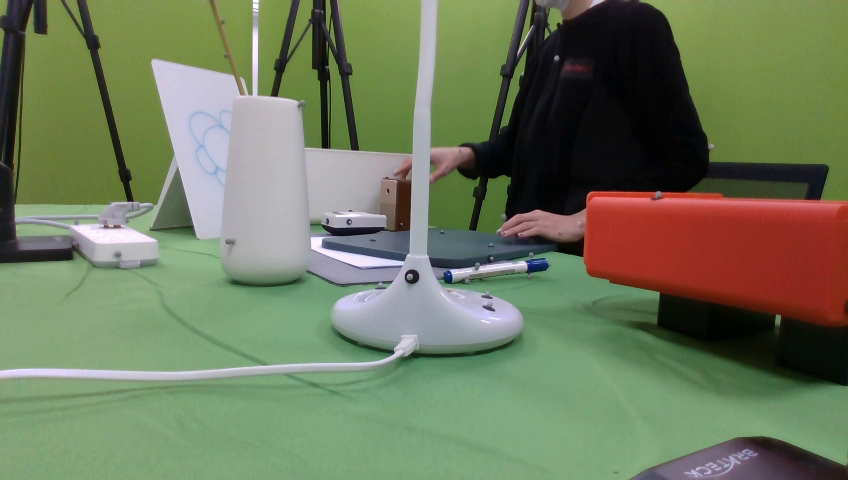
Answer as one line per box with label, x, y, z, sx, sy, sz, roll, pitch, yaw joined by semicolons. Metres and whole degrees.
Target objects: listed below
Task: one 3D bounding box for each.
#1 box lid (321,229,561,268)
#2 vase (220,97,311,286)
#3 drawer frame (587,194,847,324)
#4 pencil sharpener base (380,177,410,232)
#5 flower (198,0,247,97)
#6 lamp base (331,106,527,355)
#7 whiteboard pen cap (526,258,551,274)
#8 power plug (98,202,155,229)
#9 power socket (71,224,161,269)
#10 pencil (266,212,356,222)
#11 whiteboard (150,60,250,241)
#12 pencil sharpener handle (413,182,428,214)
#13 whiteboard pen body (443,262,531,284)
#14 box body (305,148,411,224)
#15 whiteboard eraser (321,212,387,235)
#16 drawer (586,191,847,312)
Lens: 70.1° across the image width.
box lid;0.040;0.008;0.996;0.262;0.015;0.373;7;8;34
vase;-0.172;-0.052;0.662;0.098;0.200;0.098;3;8;0
drawer frame;0.285;0.004;0.508;0.203;0.082;0.212;-1;6;-29
pencil sharpener base;-0.042;-0.071;1.222;0.077;0.107;0.061;-3;9;-37
flower;-0.187;-0.133;0.648;0.038;0.362;0.044;-1;22;43
lamp base;0.006;-0.012;0.478;0.161;0.180;0.179;2;10;2
whiteboard pen cap;0.141;0.033;0.759;0.033;0.018;0.018;-7;11;-26
power plug;-0.416;-0.027;0.848;0.073;0.052;0.035;0;8;-28
power socket;-0.408;0.004;0.793;0.072;0.032;0.225;-2;8;-38
pencil;-0.245;-0.049;1.319;0.195;0.012;0.012;3;7;-13
whiteboard;-0.408;-0.139;1.093;0.143;0.305;0.218;-15;-1;26
pencil sharpener handle;-0.003;-0.086;1.254;0.031;0.067;0.036;-3;20;-37
whiteboard pen body;0.087;0.038;0.734;0.141;0.017;0.017;-5;10;-27
box body;-0.230;-0.126;1.371;0.366;0.160;0.253;-2;8;-33
whiteboard eraser;-0.128;-0.031;1.108;0.113;0.042;0.055;-3;7;-38
drawer;0.281;0.001;0.513;0.195;0.073;0.210;-1;8;-29
